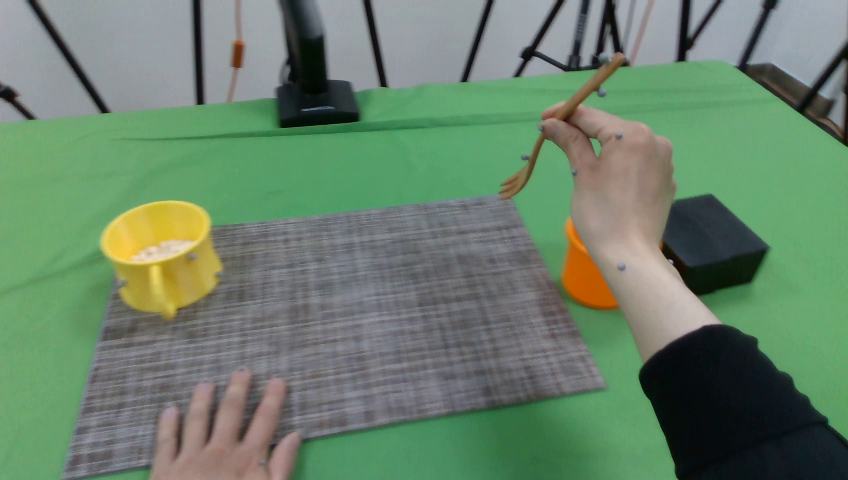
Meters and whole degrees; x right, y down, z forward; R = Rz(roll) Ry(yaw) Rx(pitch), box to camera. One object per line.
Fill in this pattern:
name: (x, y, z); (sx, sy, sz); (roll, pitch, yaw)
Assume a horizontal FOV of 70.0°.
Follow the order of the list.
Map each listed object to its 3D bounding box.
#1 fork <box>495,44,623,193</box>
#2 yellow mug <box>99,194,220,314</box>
fork: (0.101, -0.090, 0.494); (0.018, 0.208, 0.028); (21, 64, -5)
yellow mug: (-0.260, 0.018, 0.603); (0.100, 0.064, 0.129); (-11, 43, -15)
